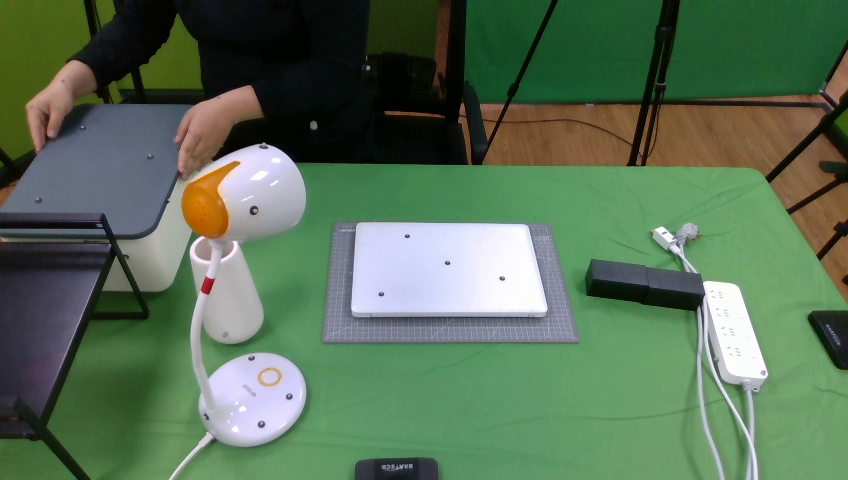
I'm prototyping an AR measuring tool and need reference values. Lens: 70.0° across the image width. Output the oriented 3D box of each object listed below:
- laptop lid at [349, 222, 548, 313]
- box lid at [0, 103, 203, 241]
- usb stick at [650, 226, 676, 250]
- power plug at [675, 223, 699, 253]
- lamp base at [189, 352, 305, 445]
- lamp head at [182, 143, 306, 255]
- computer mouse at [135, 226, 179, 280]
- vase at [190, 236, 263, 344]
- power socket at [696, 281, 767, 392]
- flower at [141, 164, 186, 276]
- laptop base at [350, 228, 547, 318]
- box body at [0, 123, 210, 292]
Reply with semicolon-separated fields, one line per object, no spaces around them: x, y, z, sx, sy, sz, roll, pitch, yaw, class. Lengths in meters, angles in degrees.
0.042;0.046;1.142;0.357;0.013;0.240;2;44;-3;laptop lid
-0.563;-0.134;1.077;0.263;0.015;0.369;1;45;-2;box lid
0.485;-0.008;1.237;0.021;0.027;0.059;-22;44;-13;usb stick
0.537;0.000;1.244;0.053;0.035;0.072;19;83;-17;power plug
-0.268;0.196;0.876;0.160;0.181;0.179;25;52;19;lamp base
-0.215;-0.044;0.697;0.112;0.113;0.123;23;31;17;lamp head
-0.492;0.020;1.118;0.063;0.041;0.116;1;54;-9;computer mouse
-0.317;0.081;0.971;0.098;0.201;0.097;3;47;-3;vase
0.543;0.161;1.077;0.072;0.033;0.225;6;46;2;power socket
-0.492;-0.055;1.173;0.044;0.038;0.359;-39;34;18;flower
0.041;0.056;1.149;0.355;0.023;0.234;0;43;-4;laptop base
-0.567;-0.082;1.134;0.254;0.161;0.361;2;46;-3;box body
